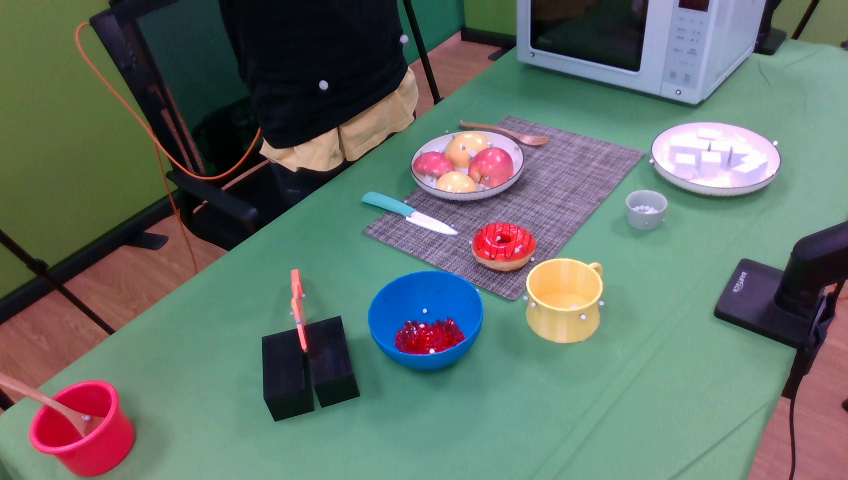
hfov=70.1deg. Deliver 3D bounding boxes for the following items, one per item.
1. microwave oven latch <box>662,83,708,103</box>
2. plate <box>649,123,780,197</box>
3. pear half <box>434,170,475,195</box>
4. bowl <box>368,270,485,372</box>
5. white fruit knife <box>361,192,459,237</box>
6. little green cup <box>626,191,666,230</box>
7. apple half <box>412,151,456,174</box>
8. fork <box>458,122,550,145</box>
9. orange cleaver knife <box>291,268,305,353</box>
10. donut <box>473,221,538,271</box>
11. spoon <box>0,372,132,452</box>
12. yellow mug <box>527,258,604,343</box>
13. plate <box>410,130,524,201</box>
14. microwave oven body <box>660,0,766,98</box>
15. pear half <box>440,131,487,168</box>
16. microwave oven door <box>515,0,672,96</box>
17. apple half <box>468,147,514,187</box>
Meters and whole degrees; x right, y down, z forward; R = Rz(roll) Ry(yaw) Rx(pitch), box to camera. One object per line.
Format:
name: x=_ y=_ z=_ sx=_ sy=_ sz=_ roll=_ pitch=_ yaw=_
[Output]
microwave oven latch: x=0.518 y=-0.296 z=1.204 sx=0.078 sy=0.029 sz=0.030 roll=28 pitch=52 yaw=35
plate: x=0.497 y=-0.135 z=1.046 sx=0.207 sy=0.039 sz=0.206 roll=-4 pitch=40 yaw=4
pear half: x=0.052 y=-0.105 z=1.051 sx=0.071 sy=0.031 sz=0.087 roll=-5 pitch=32 yaw=-28
bowl: x=0.007 y=0.118 z=0.791 sx=0.151 sy=0.077 sz=0.150 roll=-5 pitch=40 yaw=4
white fruit knife: x=-0.025 y=-0.045 z=1.033 sx=0.206 sy=0.016 sz=0.027 roll=24 pitch=80 yaw=30
little green cup: x=0.352 y=-0.046 z=0.963 sx=0.061 sy=0.039 sz=0.061 roll=-4 pitch=40 yaw=4
apple half: x=0.022 y=-0.144 z=1.097 sx=0.081 sy=0.033 sz=0.081 roll=7 pitch=22 yaw=-2
fork: x=0.154 y=-0.215 z=1.204 sx=0.206 sy=0.019 sz=0.028 roll=20 pitch=57 yaw=29
orange cleaver knife: x=-0.175 y=0.093 z=0.844 sx=0.012 sy=0.077 sz=0.210 roll=-11 pitch=15 yaw=-10
donut: x=0.123 y=0.008 z=0.923 sx=0.099 sy=0.048 sz=0.098 roll=-3 pitch=38 yaw=3
spoon: x=-0.439 y=0.195 z=0.715 sx=0.195 sy=0.021 sz=0.041 roll=37 pitch=42 yaw=-16
yellow mug: x=0.202 y=0.073 z=0.824 sx=0.131 sy=0.064 sz=0.099 roll=-32 pitch=46 yaw=-27
plate: x=0.078 y=-0.133 z=1.101 sx=0.209 sy=0.038 sz=0.208 roll=-4 pitch=40 yaw=4
microwave oven body: x=0.472 y=-0.513 z=1.317 sx=0.438 sy=0.261 sz=0.327 roll=26 pitch=51 yaw=34
pear half: x=0.064 y=-0.173 z=1.129 sx=0.110 sy=0.056 sz=0.076 roll=-6 pitch=35 yaw=4
microwave oven door: x=0.343 y=-0.454 z=1.259 sx=0.353 sy=0.245 sz=0.039 roll=26 pitch=51 yaw=33
apple half: x=0.119 y=-0.137 z=1.073 sx=0.080 sy=0.053 sz=0.075 roll=25 pitch=49 yaw=38
